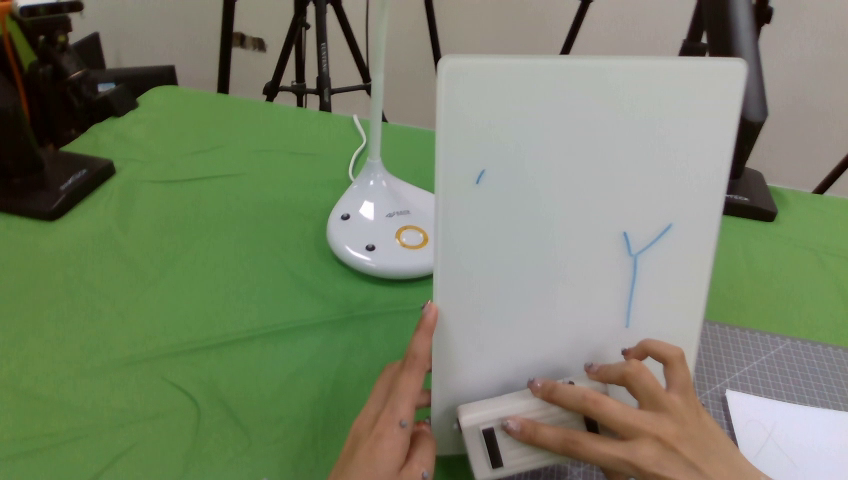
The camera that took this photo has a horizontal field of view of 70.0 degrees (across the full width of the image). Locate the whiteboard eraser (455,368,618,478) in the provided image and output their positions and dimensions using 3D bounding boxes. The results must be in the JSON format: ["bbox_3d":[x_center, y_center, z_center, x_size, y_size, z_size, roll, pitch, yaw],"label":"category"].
[{"bbox_3d":[0.084,0.135,0.454,0.113,0.056,0.041,-15,11,2],"label":"whiteboard eraser"}]

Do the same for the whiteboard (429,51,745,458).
[{"bbox_3d":[0.104,0.002,0.508,0.218,0.307,0.143,-2,19,-8],"label":"whiteboard"}]

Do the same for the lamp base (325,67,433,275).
[{"bbox_3d":[-0.035,-0.081,0.653,0.161,0.182,0.177,-21,42,-29],"label":"lamp base"}]
